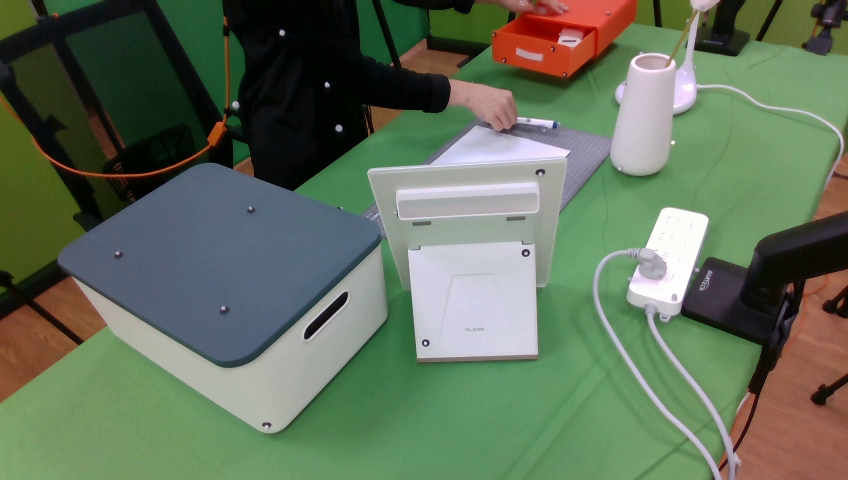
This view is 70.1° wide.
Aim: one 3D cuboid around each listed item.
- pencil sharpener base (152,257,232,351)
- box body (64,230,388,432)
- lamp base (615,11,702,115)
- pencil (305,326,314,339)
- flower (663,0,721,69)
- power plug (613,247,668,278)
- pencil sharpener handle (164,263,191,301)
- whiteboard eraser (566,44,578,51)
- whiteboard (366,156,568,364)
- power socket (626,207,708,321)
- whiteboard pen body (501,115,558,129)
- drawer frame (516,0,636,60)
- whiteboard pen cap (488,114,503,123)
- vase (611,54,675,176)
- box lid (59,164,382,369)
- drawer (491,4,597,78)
[{"bbox_3d":[-0.322,0.088,0.841,0.061,0.107,0.076,-28,44,-20],"label":"pencil sharpener base"},{"bbox_3d":[-0.256,0.065,0.827,0.361,0.161,0.255,20,48,29],"label":"box body"},{"bbox_3d":[0.484,-0.364,1.211,0.180,0.181,0.159,-15,41,-13],"label":"lamp base"},{"bbox_3d":[-0.187,0.106,0.880,0.012,0.012,0.192,-27,41,-22],"label":"pencil"},{"bbox_3d":[0.379,-0.261,0.965,0.044,0.362,0.038,20,52,5],"label":"flower"},{"bbox_3d":[0.306,0.032,0.851,0.072,0.053,0.035,24,49,34],"label":"power plug"},{"bbox_3d":[-0.354,0.055,0.866,0.036,0.068,0.030,-17,39,-29],"label":"pencil sharpener handle"},{"bbox_3d":[0.333,-0.413,1.357,0.055,0.042,0.113,1,11,23],"label":"whiteboard eraser"},{"bbox_3d":[0.059,0.050,0.738,0.217,0.307,0.143,-2,60,6],"label":"whiteboard"},{"bbox_3d":[0.359,0.025,0.886,0.072,0.033,0.227,16,46,26],"label":"power socket"},{"bbox_3d":[0.202,-0.240,1.222,0.140,0.017,0.017,12,44,25],"label":"whiteboard pen body"},{"bbox_3d":[0.356,-0.516,1.415,0.200,0.083,0.214,22,50,31],"label":"drawer frame"},{"bbox_3d":[0.150,-0.250,1.247,0.033,0.018,0.018,14,44,25],"label":"whiteboard pen cap"},{"bbox_3d":[0.377,-0.209,1.031,0.098,0.201,0.097,-4,40,3],"label":"vase"},{"bbox_3d":[-0.263,0.010,0.777,0.368,0.015,0.264,20,47,29],"label":"box lid"},{"bbox_3d":[0.288,-0.453,1.354,0.193,0.073,0.212,24,49,32],"label":"drawer"}]
